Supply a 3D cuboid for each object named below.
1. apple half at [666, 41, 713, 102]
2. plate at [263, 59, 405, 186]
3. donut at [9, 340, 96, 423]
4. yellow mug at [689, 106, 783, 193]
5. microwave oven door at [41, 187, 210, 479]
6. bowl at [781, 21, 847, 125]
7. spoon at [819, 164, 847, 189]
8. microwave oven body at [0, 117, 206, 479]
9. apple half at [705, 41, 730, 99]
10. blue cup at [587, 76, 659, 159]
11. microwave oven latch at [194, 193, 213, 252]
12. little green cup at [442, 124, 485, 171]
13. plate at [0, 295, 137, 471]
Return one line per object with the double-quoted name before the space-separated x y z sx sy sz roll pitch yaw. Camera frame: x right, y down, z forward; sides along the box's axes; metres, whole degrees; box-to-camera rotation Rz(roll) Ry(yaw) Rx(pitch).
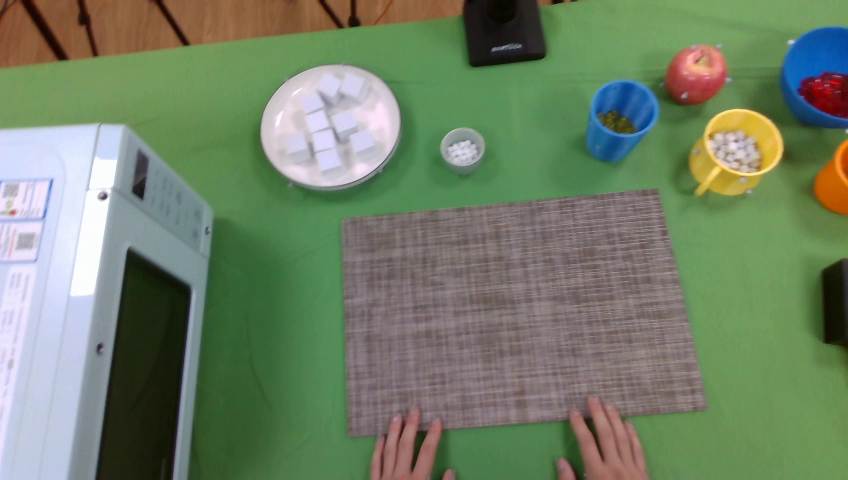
"apple half" 0.374 -0.238 0.864 0.053 0.075 0.080 -1 74 8
"plate" -0.130 -0.170 0.896 0.207 0.039 0.206 -1 71 4
"donut" -0.445 0.170 0.727 0.099 0.048 0.098 0 81 2
"yellow mug" 0.412 -0.112 0.823 0.099 0.064 0.131 42 80 16
"microwave oven door" -0.318 0.149 0.674 0.039 0.245 0.353 -3 71 4
"bowl" 0.564 -0.216 0.840 0.151 0.077 0.150 -1 72 4
"spoon" 0.592 -0.070 0.751 0.041 0.192 0.022 -45 118 -11
"microwave oven body" -0.464 0.117 0.701 0.326 0.262 0.438 -2 72 3
"apple half" 0.413 -0.239 0.860 0.033 0.082 0.081 0 71 8
"blue cup" 0.264 -0.159 0.831 0.092 0.101 0.092 -1 72 3
"microwave oven latch" -0.312 -0.024 0.840 0.030 0.030 0.078 0 72 4
"little green cup" 0.057 -0.130 0.869 0.061 0.039 0.061 -1 71 4
"plate" -0.449 0.171 0.736 0.209 0.038 0.208 -1 72 3
